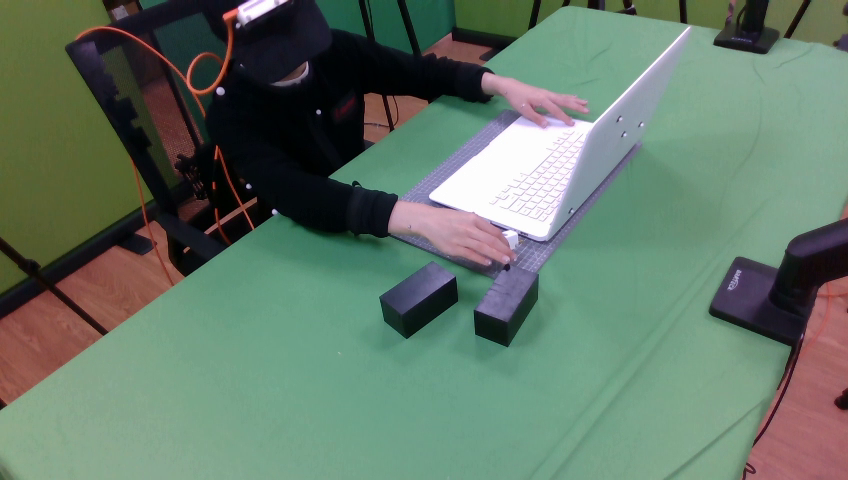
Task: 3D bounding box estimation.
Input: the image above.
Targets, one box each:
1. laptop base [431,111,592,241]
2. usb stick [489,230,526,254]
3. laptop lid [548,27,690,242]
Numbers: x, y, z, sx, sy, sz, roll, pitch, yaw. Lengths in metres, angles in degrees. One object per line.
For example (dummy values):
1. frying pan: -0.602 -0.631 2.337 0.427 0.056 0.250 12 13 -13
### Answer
1. laptop base: 0.206 -0.130 1.100 0.233 0.023 0.355 20 47 34
2. usb stick: 0.129 0.002 0.922 0.059 0.027 0.021 -12 21 -27
3. laptop lid: 0.309 -0.168 0.949 0.013 0.242 0.358 33 52 20
